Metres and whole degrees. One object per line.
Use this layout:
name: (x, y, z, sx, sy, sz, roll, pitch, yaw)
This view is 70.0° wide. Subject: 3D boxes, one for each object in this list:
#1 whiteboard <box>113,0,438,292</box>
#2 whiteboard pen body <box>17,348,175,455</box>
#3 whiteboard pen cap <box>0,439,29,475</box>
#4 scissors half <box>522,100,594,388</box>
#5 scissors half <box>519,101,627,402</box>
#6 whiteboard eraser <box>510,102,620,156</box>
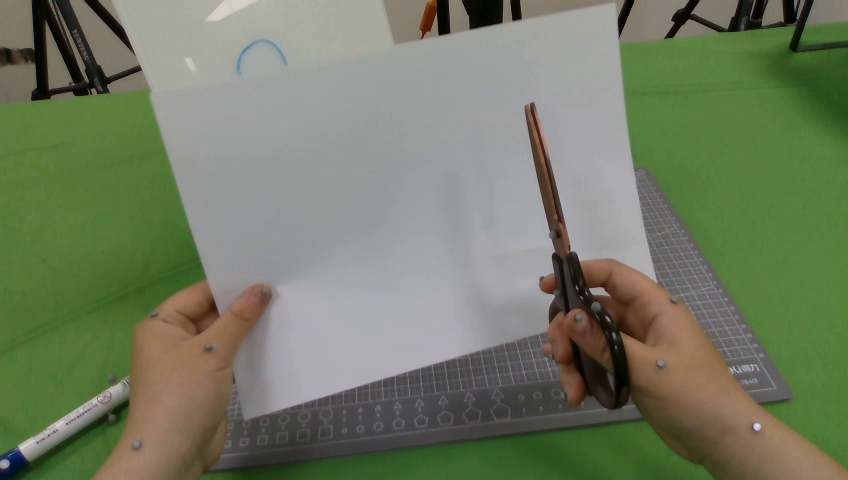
whiteboard: (-0.145, -0.147, 0.581, 0.217, 0.308, 0.142, -26, 26, -22)
whiteboard pen body: (-0.253, 0.125, 0.452, 0.017, 0.017, 0.141, 32, 51, 33)
whiteboard pen cap: (-0.294, 0.153, 0.422, 0.018, 0.018, 0.033, 31, 52, 33)
scissors half: (0.077, 0.005, 0.356, 0.013, 0.176, 0.040, -17, 12, -11)
scissors half: (0.080, 0.005, 0.336, 0.013, 0.040, 0.174, -17, 84, -6)
whiteboard eraser: (0.158, -0.123, 0.682, 0.113, 0.042, 0.055, -8, 44, -5)
